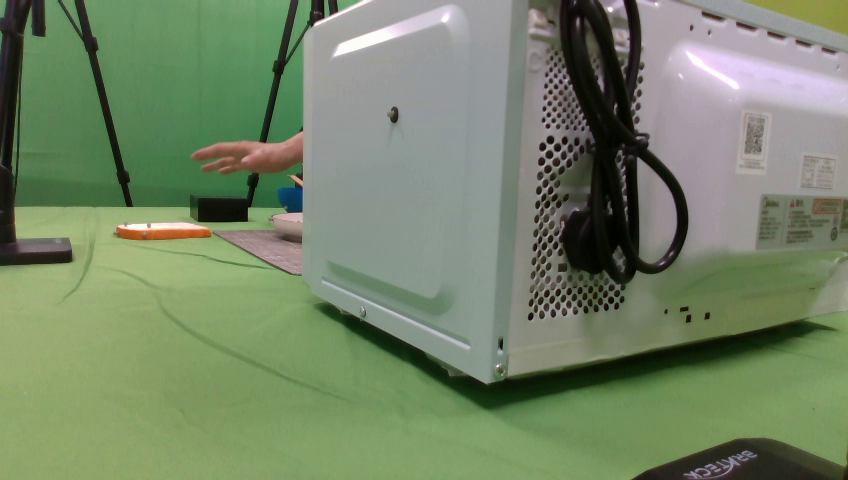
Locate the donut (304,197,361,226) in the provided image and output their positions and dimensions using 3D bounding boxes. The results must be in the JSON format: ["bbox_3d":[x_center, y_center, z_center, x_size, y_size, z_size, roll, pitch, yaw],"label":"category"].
[{"bbox_3d":[-0.159,-0.050,1.055,0.099,0.048,0.099,3,8,0],"label":"donut"}]

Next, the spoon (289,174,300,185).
[{"bbox_3d":[-0.260,-0.111,1.343,0.042,0.021,0.192,-10,34,-29],"label":"spoon"}]

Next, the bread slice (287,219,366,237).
[{"bbox_3d":[-0.170,-0.021,1.056,0.134,0.018,0.107,2,7,-6],"label":"bread slice"}]

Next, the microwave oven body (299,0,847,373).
[{"bbox_3d":[0.151,-0.055,0.542,0.444,0.260,0.324,-2,7,-33],"label":"microwave oven body"}]

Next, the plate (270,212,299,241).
[{"bbox_3d":[-0.162,-0.022,1.058,0.208,0.039,0.207,2,7,0],"label":"plate"}]

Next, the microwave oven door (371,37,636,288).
[{"bbox_3d":[0.109,-0.080,0.686,0.358,0.243,0.039,-2,9,-33],"label":"microwave oven door"}]

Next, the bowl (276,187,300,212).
[{"bbox_3d":[-0.242,-0.073,1.302,0.151,0.077,0.151,2,7,0],"label":"bowl"}]

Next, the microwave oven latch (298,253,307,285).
[{"bbox_3d":[-0.081,0.027,0.582,0.079,0.029,0.030,-1,7,-32],"label":"microwave oven latch"}]

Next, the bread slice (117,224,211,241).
[{"bbox_3d":[-0.443,-0.015,1.022,0.132,0.019,0.104,-3,8,-45],"label":"bread slice"}]
